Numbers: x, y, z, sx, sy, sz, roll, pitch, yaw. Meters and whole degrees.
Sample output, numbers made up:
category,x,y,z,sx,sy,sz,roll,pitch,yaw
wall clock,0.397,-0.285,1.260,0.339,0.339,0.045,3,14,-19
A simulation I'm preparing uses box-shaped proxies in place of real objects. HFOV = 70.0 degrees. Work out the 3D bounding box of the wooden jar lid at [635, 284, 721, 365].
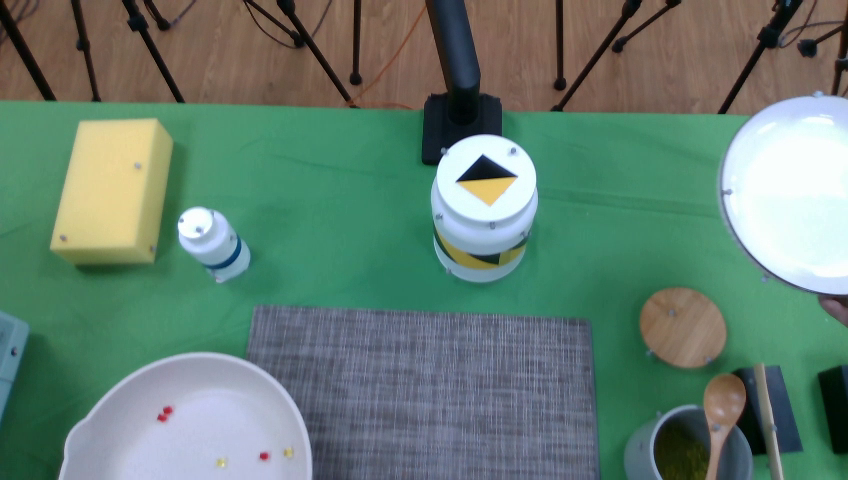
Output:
category,x,y,z,sx,sy,sz,roll,pitch,yaw
wooden jar lid,0.329,0.110,0.789,0.108,0.021,0.107,-1,69,2

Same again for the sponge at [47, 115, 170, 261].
category,x,y,z,sx,sy,sz,roll,pitch,yaw
sponge,-0.446,-0.076,0.868,0.118,0.061,0.205,-2,68,0

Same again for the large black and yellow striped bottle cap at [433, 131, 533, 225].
category,x,y,z,sx,sy,sz,roll,pitch,yaw
large black and yellow striped bottle cap,0.068,-0.073,0.693,0.115,0.019,0.114,-1,69,2

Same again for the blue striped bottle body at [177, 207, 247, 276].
category,x,y,z,sx,sy,sz,roll,pitch,yaw
blue striped bottle body,-0.281,-0.001,0.799,0.063,0.121,0.062,-1,67,2

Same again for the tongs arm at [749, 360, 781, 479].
category,x,y,z,sx,sy,sz,roll,pitch,yaw
tongs arm,0.411,0.324,0.657,0.051,0.026,0.383,-2,77,-1

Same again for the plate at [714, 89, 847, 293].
category,x,y,z,sx,sy,sz,roll,pitch,yaw
plate,0.395,-0.048,0.609,0.209,0.038,0.208,-1,77,4

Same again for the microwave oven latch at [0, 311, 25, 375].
category,x,y,z,sx,sy,sz,roll,pitch,yaw
microwave oven latch,-0.541,0.132,0.777,0.030,0.030,0.078,5,68,4

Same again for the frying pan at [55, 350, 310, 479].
category,x,y,z,sx,sy,sz,roll,pitch,yaw
frying pan,-0.307,0.362,0.656,0.306,0.103,0.485,17,62,11

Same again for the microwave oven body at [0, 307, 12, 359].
category,x,y,z,sx,sy,sz,roll,pitch,yaw
microwave oven body,-0.703,0.250,0.628,0.326,0.262,0.438,3,68,3

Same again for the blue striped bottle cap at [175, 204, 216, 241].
category,x,y,z,sx,sy,sz,roll,pitch,yaw
blue striped bottle cap,-0.284,-0.022,0.753,0.044,0.021,0.044,0,69,2

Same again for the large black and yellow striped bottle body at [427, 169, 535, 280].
category,x,y,z,sx,sy,sz,roll,pitch,yaw
large black and yellow striped bottle body,0.070,-0.038,0.771,0.131,0.185,0.130,-1,67,2

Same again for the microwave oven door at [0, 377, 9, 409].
category,x,y,z,sx,sy,sz,roll,pitch,yaw
microwave oven door,-0.560,0.293,0.599,0.039,0.245,0.353,2,67,3

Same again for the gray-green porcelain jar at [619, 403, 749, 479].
category,x,y,z,sx,sy,sz,roll,pitch,yaw
gray-green porcelain jar,0.281,0.244,0.677,0.106,0.127,0.105,-1,67,2

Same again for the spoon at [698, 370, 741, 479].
category,x,y,z,sx,sy,sz,roll,pitch,yaw
spoon,0.283,0.226,0.608,0.041,0.022,0.193,18,73,7
